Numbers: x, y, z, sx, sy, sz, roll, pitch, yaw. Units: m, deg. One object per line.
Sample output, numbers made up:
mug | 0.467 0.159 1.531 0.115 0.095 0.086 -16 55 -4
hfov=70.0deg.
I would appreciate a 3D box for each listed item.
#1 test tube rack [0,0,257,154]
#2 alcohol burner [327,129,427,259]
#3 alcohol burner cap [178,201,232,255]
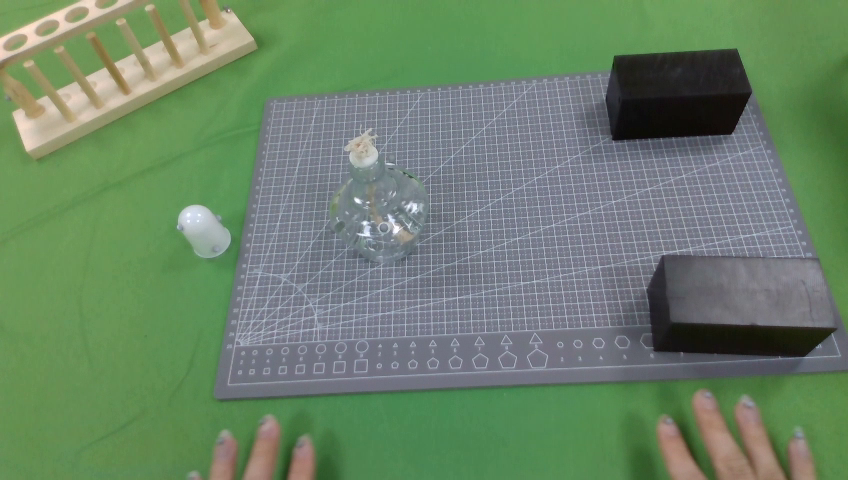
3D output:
test tube rack | -0.297 -0.187 0.589 0.242 0.086 0.066 -31 61 -12
alcohol burner | -0.038 -0.037 0.451 0.078 0.120 0.077 -3 57 5
alcohol burner cap | -0.183 -0.012 0.499 0.034 0.048 0.033 -3 59 6
